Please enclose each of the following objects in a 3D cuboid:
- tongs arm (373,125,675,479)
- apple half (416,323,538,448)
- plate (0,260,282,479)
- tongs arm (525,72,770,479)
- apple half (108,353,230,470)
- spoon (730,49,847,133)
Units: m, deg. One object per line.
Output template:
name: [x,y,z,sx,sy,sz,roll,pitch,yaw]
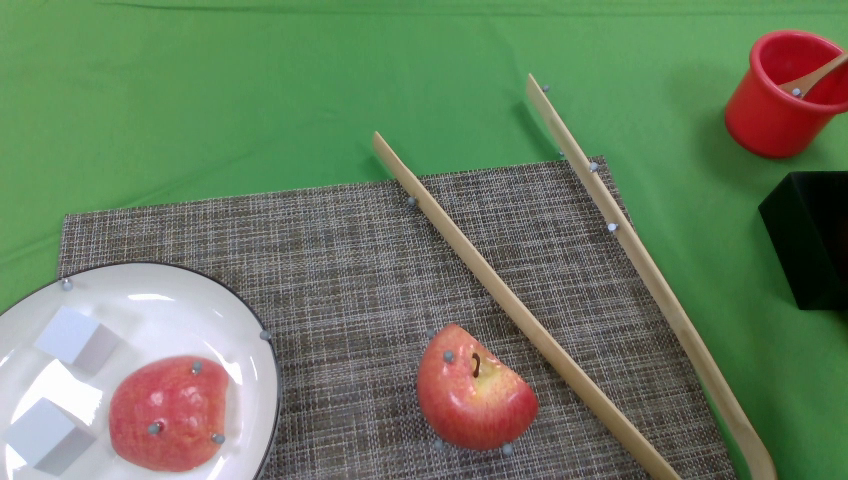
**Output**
tongs arm: [0.074,0.046,0.447,0.028,0.028,0.384,-29,66,-25]
apple half: [0.025,0.100,0.385,0.080,0.075,0.053,40,68,14]
plate: [-0.193,0.110,0.383,0.209,0.038,0.207,2,59,-3]
tongs arm: [0.148,0.015,0.470,0.051,0.027,0.381,-17,63,-16]
apple half: [-0.164,0.104,0.383,0.081,0.033,0.080,4,59,-6]
spoon: [0.362,-0.154,0.525,0.194,0.022,0.041,-35,54,27]
